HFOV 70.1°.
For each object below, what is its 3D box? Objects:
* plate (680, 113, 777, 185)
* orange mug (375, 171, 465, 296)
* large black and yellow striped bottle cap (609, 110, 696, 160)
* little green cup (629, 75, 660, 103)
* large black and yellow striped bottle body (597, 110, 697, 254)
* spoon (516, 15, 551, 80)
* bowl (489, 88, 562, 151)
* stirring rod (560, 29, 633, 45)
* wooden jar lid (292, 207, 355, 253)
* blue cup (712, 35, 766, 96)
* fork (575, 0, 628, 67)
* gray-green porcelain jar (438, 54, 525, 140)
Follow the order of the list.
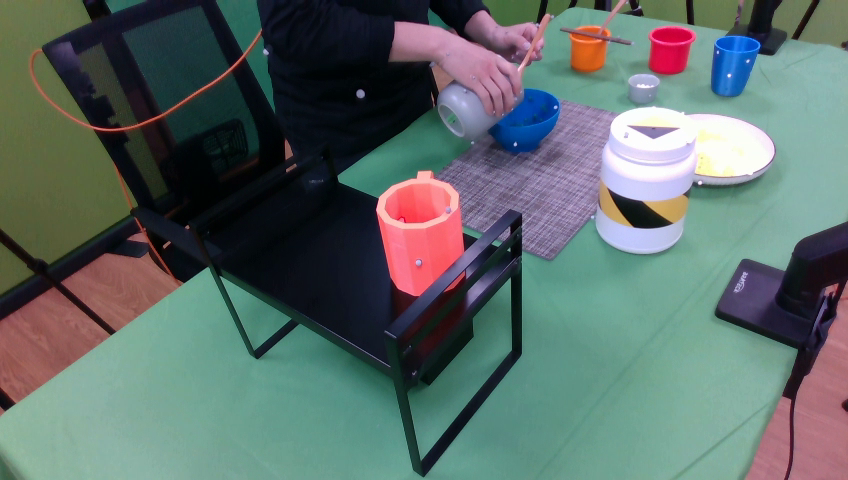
[{"bbox_3d":[0.506,-0.158,1.073,0.209,0.038,0.208,-5,40,4],"label":"plate"},{"bbox_3d":[0.000,-0.016,0.661,0.083,0.101,0.125,-2,45,8],"label":"orange mug"},{"bbox_3d":[0.319,-0.150,0.849,0.115,0.019,0.114,-4,39,3],"label":"large black and yellow striped bottle cap"},{"bbox_3d":[0.457,-0.314,1.260,0.061,0.039,0.061,-4,40,4],"label":"little green cup"},{"bbox_3d":[0.331,-0.086,0.904,0.131,0.185,0.130,-5,41,4],"label":"large black and yellow striped bottle body"},{"bbox_3d":[0.190,-0.336,1.117,0.041,0.022,0.193,21,75,31],"label":"spoon"},{"bbox_3d":[0.187,-0.223,1.161,0.151,0.077,0.150,-4,40,4],"label":"bowl"},{"bbox_3d":[0.381,-0.452,1.345,0.174,0.006,0.014,25,49,33],"label":"stirring rod"},{"bbox_3d":[-0.169,-0.015,1.026,0.108,0.021,0.108,-4,40,4],"label":"wooden jar lid"},{"bbox_3d":[0.627,-0.350,1.227,0.092,0.100,0.092,-4,39,4],"label":"blue cup"},{"bbox_3d":[0.413,-0.481,1.377,0.207,0.019,0.028,-56,43,12],"label":"fork"},{"bbox_3d":[0.096,-0.247,1.061,0.126,0.106,0.105,-40,48,-12],"label":"gray-green porcelain jar"}]
